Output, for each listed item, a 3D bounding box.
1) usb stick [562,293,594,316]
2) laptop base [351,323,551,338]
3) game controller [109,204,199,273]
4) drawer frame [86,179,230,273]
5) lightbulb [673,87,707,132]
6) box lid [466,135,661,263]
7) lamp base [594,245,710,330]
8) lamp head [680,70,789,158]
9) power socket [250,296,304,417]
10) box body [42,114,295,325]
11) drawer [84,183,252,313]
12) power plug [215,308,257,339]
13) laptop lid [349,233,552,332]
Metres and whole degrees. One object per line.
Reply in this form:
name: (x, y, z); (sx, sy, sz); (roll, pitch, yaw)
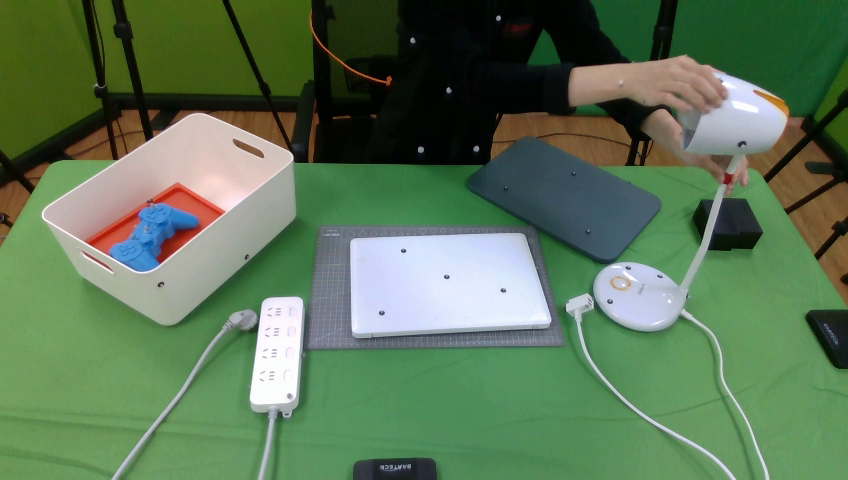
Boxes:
usb stick: (0.275, 0.118, 1.087); (0.021, 0.059, 0.027); (39, 44, -28)
laptop base: (0.040, 0.080, 1.125); (0.355, 0.023, 0.234); (-2, 43, -6)
game controller: (-0.467, -0.005, 1.044); (0.097, 0.052, 0.154); (8, 45, 10)
drawer frame: (-0.453, 0.010, 1.100); (0.201, 0.083, 0.213); (28, 54, 23)
lightbulb: (0.388, -0.168, 0.812); (0.059, 0.060, 0.107); (-33, 47, -30)
box lid: (0.306, -0.102, 1.327); (0.370, 0.015, 0.263); (32, 52, 25)
lamp base: (0.413, 0.052, 1.070); (0.179, 0.181, 0.160); (19, 48, 9)
lamp head: (0.421, -0.161, 0.822); (0.123, 0.113, 0.112); (16, 47, 5)
power socket: (-0.239, 0.182, 0.996); (0.072, 0.033, 0.225); (-2, 47, -5)
box body: (-0.437, -0.046, 1.110); (0.253, 0.161, 0.363); (24, 49, 19)
drawer: (-0.457, 0.008, 1.099); (0.194, 0.073, 0.211); (29, 49, 21)
power plug: (-0.316, 0.143, 1.024); (0.072, 0.053, 0.035); (-33, 58, -9)
laptop lid: (0.040, 0.070, 1.119); (0.357, 0.013, 0.240); (-1, 44, -5)
